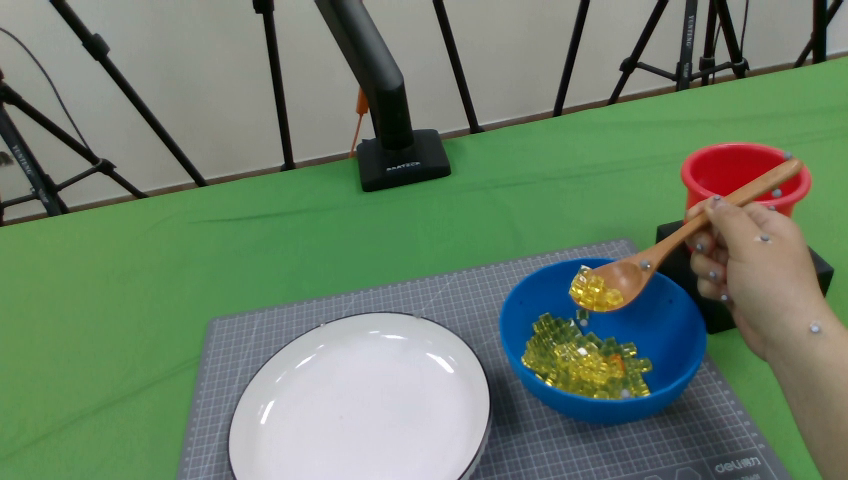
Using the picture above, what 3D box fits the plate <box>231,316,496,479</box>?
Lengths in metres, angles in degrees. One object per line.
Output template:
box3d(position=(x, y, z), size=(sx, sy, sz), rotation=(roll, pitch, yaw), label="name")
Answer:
box3d(position=(-0.046, 0.146, 0.485), size=(0.207, 0.039, 0.205), rotation=(-6, 37, 5), label="plate")

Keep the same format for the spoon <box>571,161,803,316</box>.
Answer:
box3d(position=(0.191, -0.003, 0.436), size=(0.194, 0.022, 0.041), rotation=(-35, 40, 3), label="spoon")

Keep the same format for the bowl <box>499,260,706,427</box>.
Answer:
box3d(position=(0.137, 0.093, 0.479), size=(0.151, 0.077, 0.150), rotation=(-6, 37, 5), label="bowl")
